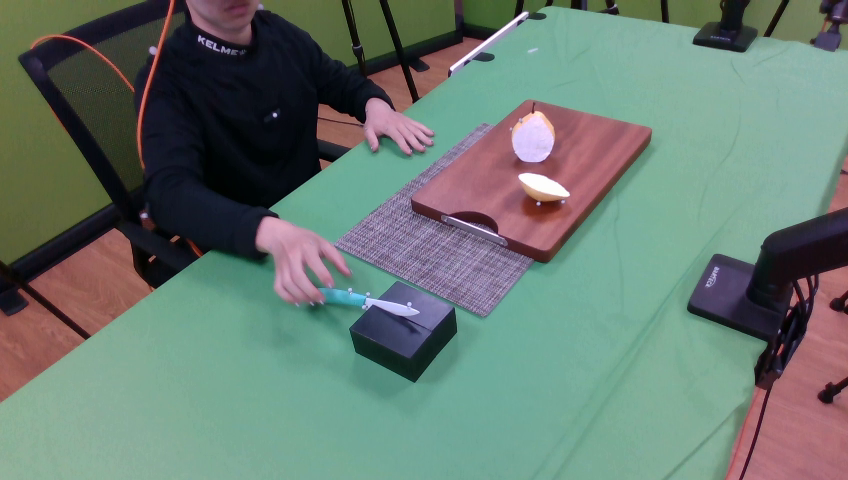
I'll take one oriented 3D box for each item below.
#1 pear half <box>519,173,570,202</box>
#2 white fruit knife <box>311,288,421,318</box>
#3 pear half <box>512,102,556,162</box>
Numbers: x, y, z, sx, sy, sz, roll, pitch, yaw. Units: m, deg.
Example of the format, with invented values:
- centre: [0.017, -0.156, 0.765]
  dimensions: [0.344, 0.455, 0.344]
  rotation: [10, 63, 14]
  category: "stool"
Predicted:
- centre: [0.193, -0.080, 0.981]
  dimensions: [0.087, 0.031, 0.071]
  rotation: [34, 38, 22]
  category: "pear half"
- centre: [-0.084, 0.086, 0.831]
  dimensions: [0.206, 0.027, 0.016]
  rotation: [5, 31, 38]
  category: "white fruit knife"
- centre: [0.193, -0.197, 1.060]
  dimensions: [0.076, 0.110, 0.056]
  rotation: [3, 41, 6]
  category: "pear half"
